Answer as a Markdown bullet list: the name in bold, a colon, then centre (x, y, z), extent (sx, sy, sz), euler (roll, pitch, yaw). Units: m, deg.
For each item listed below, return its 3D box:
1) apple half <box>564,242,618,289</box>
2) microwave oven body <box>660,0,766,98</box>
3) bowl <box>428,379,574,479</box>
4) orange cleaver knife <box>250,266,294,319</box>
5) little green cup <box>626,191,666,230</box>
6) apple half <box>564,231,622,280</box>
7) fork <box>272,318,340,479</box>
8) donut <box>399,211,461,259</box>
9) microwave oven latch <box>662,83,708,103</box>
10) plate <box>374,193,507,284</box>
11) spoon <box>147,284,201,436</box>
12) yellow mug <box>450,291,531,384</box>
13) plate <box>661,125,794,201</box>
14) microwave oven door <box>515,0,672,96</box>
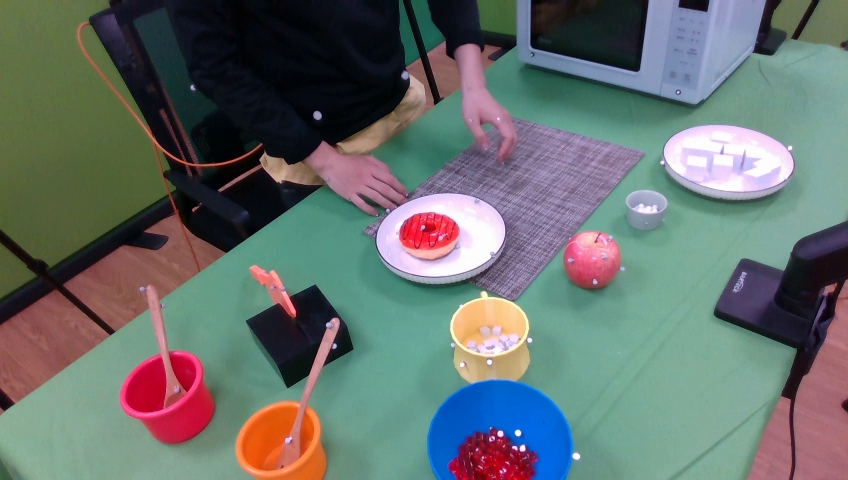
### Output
- **apple half**: centre (0.229, 0.044, 0.848), extent (0.081, 0.081, 0.033), euler (16, 41, 26)
- **microwave oven body**: centre (0.472, -0.513, 1.317), extent (0.438, 0.261, 0.327), euler (26, 51, 34)
- **bowl**: centre (0.082, 0.233, 0.644), extent (0.151, 0.077, 0.150), euler (-4, 39, 4)
- **orange cleaver knife**: centre (-0.221, 0.073, 0.876), extent (0.012, 0.077, 0.210), euler (-24, 12, -22)
- **little green cup**: centre (0.352, -0.046, 0.963), extent (0.061, 0.039, 0.061), euler (-4, 40, 4)
- **apple half**: centre (0.248, 0.021, 0.874), extent (0.080, 0.075, 0.053), euler (13, 40, 28)
- **fork**: centre (-0.131, 0.186, 0.676), extent (0.028, 0.019, 0.207), euler (18, 90, 28)
- **donut**: centre (0.009, -0.009, 0.948), extent (0.099, 0.048, 0.098), euler (-4, 39, 4)
- **microwave oven latch**: centre (0.518, -0.297, 1.204), extent (0.078, 0.029, 0.030), euler (29, 53, 36)
- **plate**: centre (0.027, 0.000, 0.952), extent (0.209, 0.038, 0.208), euler (-4, 40, 4)
- **spoon**: centre (-0.318, 0.148, 0.755), extent (0.042, 0.021, 0.193), euler (-15, 85, -10)
- **yellow mug**: centre (0.085, 0.120, 0.786), extent (0.100, 0.064, 0.130), euler (-7, 39, 1)
- **plate**: centre (0.514, -0.128, 1.035), extent (0.207, 0.039, 0.206), euler (-4, 40, 4)
- **microwave oven door**: centre (0.343, -0.454, 1.259), extent (0.353, 0.245, 0.039), euler (26, 51, 33)
